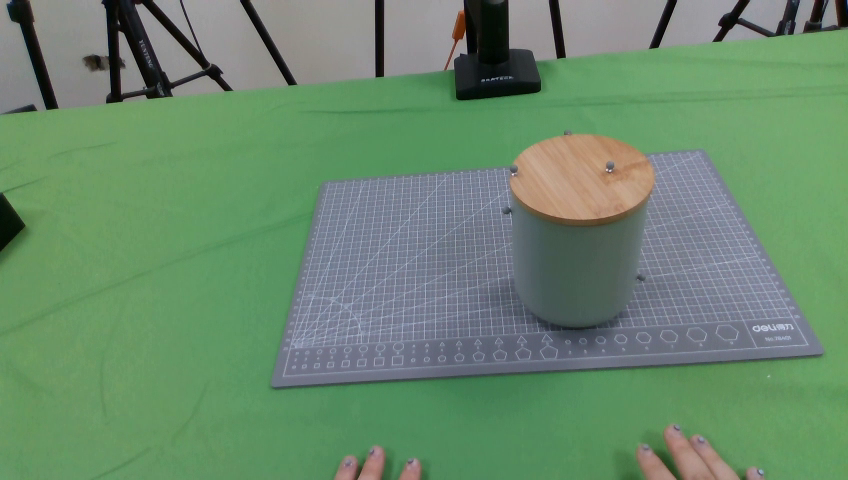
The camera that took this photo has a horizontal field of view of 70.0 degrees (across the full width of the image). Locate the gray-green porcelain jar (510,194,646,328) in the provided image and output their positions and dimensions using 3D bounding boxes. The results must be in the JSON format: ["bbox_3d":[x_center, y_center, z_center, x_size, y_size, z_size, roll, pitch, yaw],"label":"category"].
[{"bbox_3d":[0.126,0.003,0.512,0.106,0.128,0.105,-5,41,5],"label":"gray-green porcelain jar"}]

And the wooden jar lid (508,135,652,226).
[{"bbox_3d":[0.119,-0.044,0.471,0.108,0.021,0.107,-6,42,5],"label":"wooden jar lid"}]
